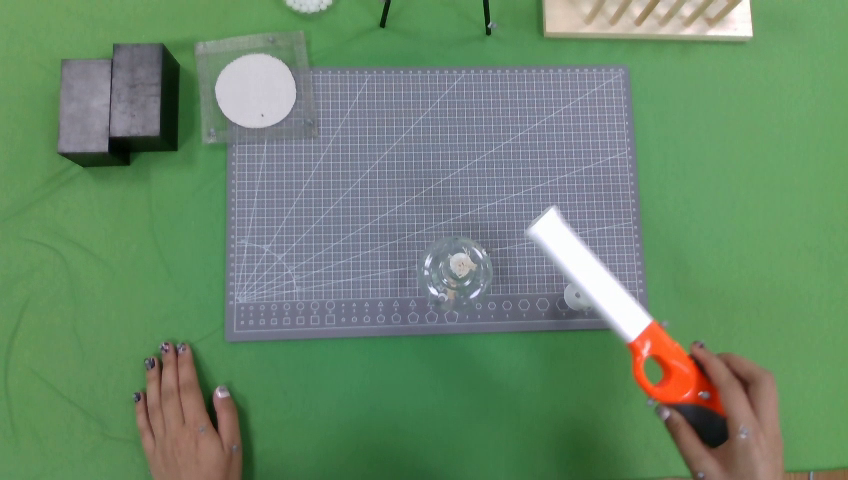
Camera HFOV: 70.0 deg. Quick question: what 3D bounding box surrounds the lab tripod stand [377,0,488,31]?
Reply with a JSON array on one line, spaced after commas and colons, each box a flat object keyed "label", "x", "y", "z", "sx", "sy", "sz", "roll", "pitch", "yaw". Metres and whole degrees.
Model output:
[{"label": "lab tripod stand", "x": 0.012, "y": -0.292, "z": 0.633, "sx": 0.148, "sy": 0.132, "sz": 0.148, "roll": 0, "pitch": 81, "yaw": -1}]

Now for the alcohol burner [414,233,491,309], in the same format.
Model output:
[{"label": "alcohol burner", "x": 0.030, "y": 0.028, "z": 0.597, "sx": 0.078, "sy": 0.119, "sz": 0.077, "roll": 1, "pitch": 80, "yaw": -4}]

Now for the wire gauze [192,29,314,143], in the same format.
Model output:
[{"label": "wire gauze", "x": -0.188, "y": -0.169, "z": 0.664, "sx": 0.125, "sy": 0.011, "sz": 0.121, "roll": -7, "pitch": 82, "yaw": -3}]

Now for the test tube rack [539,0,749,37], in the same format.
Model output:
[{"label": "test tube rack", "x": 0.256, "y": -0.276, "z": 0.669, "sx": 0.242, "sy": 0.085, "sz": 0.066, "roll": 0, "pitch": 82, "yaw": -3}]

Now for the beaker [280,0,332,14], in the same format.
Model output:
[{"label": "beaker", "x": -0.130, "y": -0.293, "z": 0.642, "sx": 0.074, "sy": 0.100, "sz": 0.084, "roll": -32, "pitch": 85, "yaw": -6}]

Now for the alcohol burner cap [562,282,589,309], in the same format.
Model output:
[{"label": "alcohol burner cap", "x": 0.167, "y": 0.055, "z": 0.637, "sx": 0.034, "sy": 0.048, "sz": 0.033, "roll": 0, "pitch": 80, "yaw": -2}]

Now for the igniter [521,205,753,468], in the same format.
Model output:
[{"label": "igniter", "x": 0.184, "y": 0.083, "z": 0.513, "sx": 0.057, "sy": 0.025, "sz": 0.277, "roll": -43, "pitch": 93, "yaw": -11}]
